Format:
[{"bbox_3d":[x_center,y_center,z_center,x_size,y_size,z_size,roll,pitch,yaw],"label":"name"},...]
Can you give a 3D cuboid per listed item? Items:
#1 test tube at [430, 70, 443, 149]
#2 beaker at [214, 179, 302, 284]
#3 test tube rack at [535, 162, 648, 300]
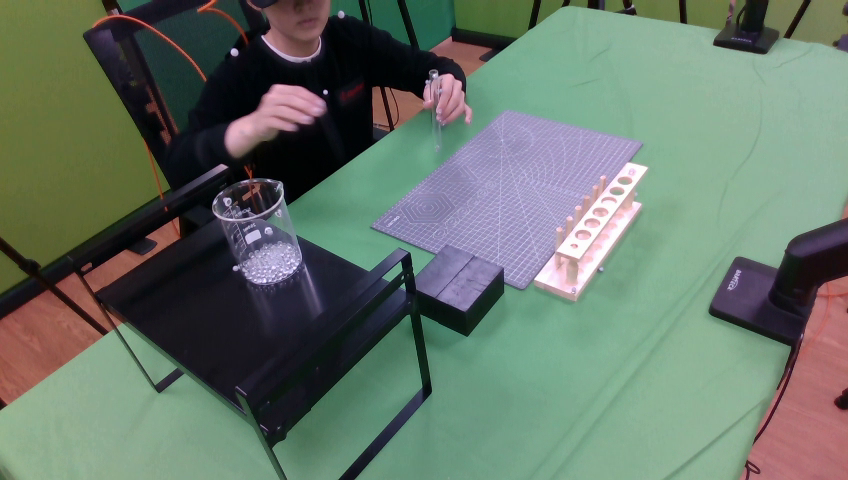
[{"bbox_3d":[0.022,-0.222,1.044,0.017,0.151,0.017,-2,43,2],"label":"test tube"},{"bbox_3d":[-0.178,-0.008,0.675,0.073,0.101,0.084,22,48,30],"label":"beaker"},{"bbox_3d":[0.257,-0.024,0.916,0.066,0.085,0.243,22,49,30],"label":"test tube rack"}]
